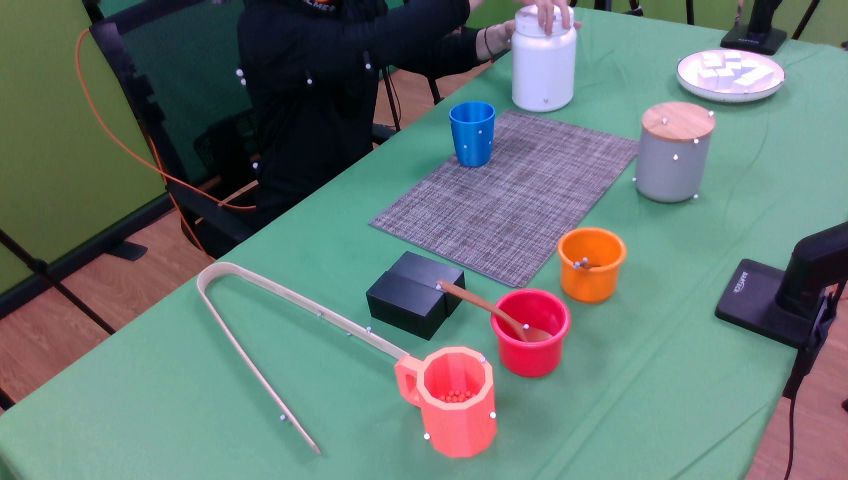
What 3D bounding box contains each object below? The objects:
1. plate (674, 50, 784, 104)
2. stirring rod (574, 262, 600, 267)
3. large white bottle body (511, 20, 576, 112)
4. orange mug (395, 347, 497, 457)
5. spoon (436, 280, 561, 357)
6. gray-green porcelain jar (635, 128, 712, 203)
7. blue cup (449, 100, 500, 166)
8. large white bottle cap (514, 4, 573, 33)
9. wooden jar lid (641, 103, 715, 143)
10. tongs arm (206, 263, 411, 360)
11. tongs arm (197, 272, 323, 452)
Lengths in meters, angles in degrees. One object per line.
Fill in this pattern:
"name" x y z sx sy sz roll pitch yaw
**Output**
"plate" 0.631 -0.336 1.262 0.207 0.039 0.206 -4 41 4
"stirring rod" 0.222 0.033 0.816 0.014 0.006 0.177 7 1 22
"large white bottle body" 0.247 -0.376 1.253 0.130 0.185 0.130 -5 41 5
"orange mug" 0.024 0.181 0.703 0.125 0.101 0.083 20 48 23
"spoon" 0.096 0.095 0.757 0.195 0.021 0.041 34 40 -20
"gray-green porcelain jar" 0.404 -0.133 0.992 0.106 0.127 0.105 -4 40 4
"blue cup" 0.092 -0.195 1.123 0.092 0.100 0.092 -3 40 3
"large white bottle cap" 0.237 -0.440 1.198 0.115 0.018 0.114 -4 41 4
"wooden jar lid" 0.398 -0.180 0.952 0.108 0.021 0.108 -4 43 4
"tongs arm" -0.179 0.106 0.870 0.381 0.026 0.051 23 53 32
"tongs arm" -0.236 0.153 0.829 0.028 0.028 0.384 -36 47 -19
